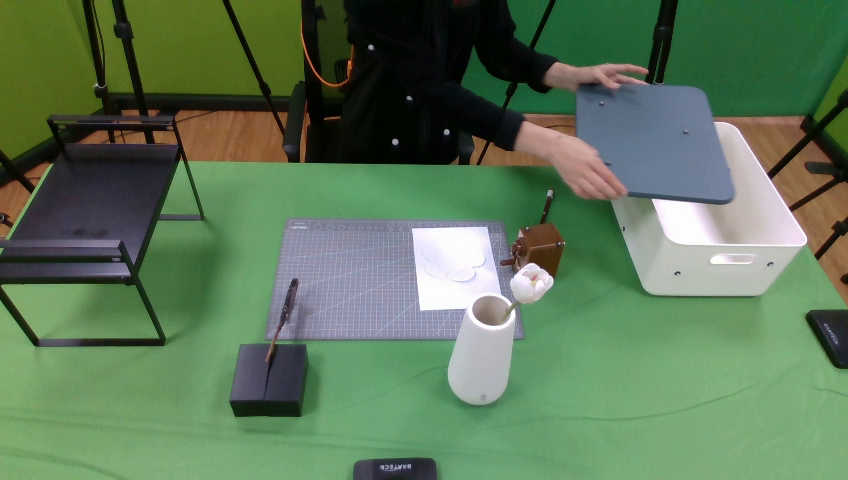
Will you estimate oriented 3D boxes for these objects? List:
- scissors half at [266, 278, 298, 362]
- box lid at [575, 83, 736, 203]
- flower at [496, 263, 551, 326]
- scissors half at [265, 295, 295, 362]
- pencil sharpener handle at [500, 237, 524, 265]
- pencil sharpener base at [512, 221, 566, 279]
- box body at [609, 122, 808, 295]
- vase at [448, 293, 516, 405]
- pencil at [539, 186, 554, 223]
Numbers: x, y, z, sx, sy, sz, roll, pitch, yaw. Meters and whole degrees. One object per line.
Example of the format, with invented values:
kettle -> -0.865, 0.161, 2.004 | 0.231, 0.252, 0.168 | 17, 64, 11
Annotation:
scissors half -> -0.234, 0.127, 0.993 | 0.013, 0.040, 0.174 | 12, 46, -4
box lid -> 0.420, -0.195, 1.144 | 0.263, 0.015, 0.369 | 5, 44, 8
flower -> 0.102, 0.121, 0.853 | 0.044, 0.363, 0.038 | -2, 64, -10
scissors half -> -0.239, 0.143, 1.005 | 0.013, 0.040, 0.174 | 17, 28, -7
pencil sharpener handle -> 0.159, 0.024, 1.111 | 0.031, 0.068, 0.035 | -9, 54, -12
pencil sharpener base -> 0.208, 0.025, 1.130 | 0.077, 0.107, 0.061 | -9, 48, -12
box body -> 0.529, -0.068, 1.205 | 0.254, 0.161, 0.361 | 1, 46, -4
vase -> 0.091, 0.169, 0.921 | 0.098, 0.201, 0.097 | 3, 47, -3
pencil -> 0.249, -0.049, 1.273 | 0.012, 0.012, 0.193 | 17, 51, 12
